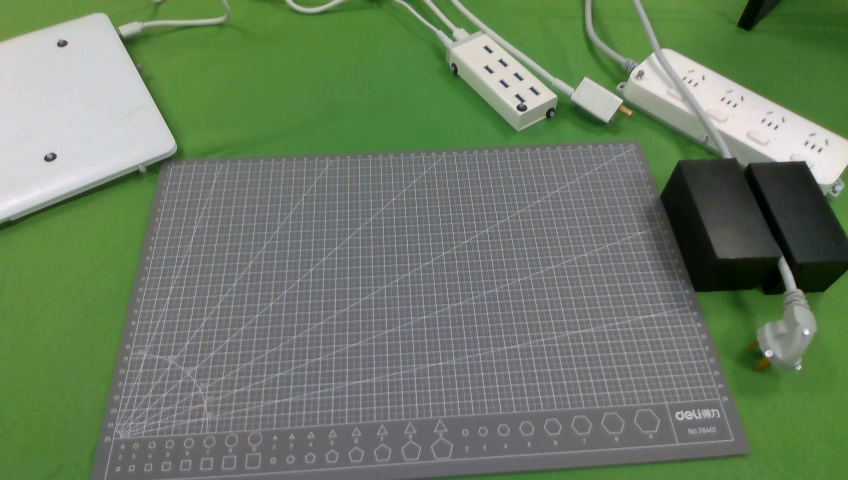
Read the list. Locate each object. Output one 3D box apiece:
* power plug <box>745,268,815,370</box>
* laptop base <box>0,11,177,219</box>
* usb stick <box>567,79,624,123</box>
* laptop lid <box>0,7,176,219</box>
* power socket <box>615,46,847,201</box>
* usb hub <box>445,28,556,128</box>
[{"bbox_3d":[0.267,0.065,0.455,0.035,0.053,0.072,35,47,-2],"label":"power plug"},{"bbox_3d":[-0.435,-0.089,0.561,0.354,0.023,0.233,-27,64,-18],"label":"laptop base"},{"bbox_3d":[0.173,-0.135,0.597,0.059,0.027,0.021,26,14,0],"label":"usb stick"},{"bbox_3d":[-0.434,-0.094,0.550,0.357,0.013,0.239,-26,63,-17],"label":"laptop lid"},{"bbox_3d":[0.295,-0.117,0.582,0.225,0.033,0.072,38,63,22],"label":"power socket"},{"bbox_3d":[0.075,-0.167,0.618,0.049,0.025,0.124,-29,61,-19],"label":"usb hub"}]
